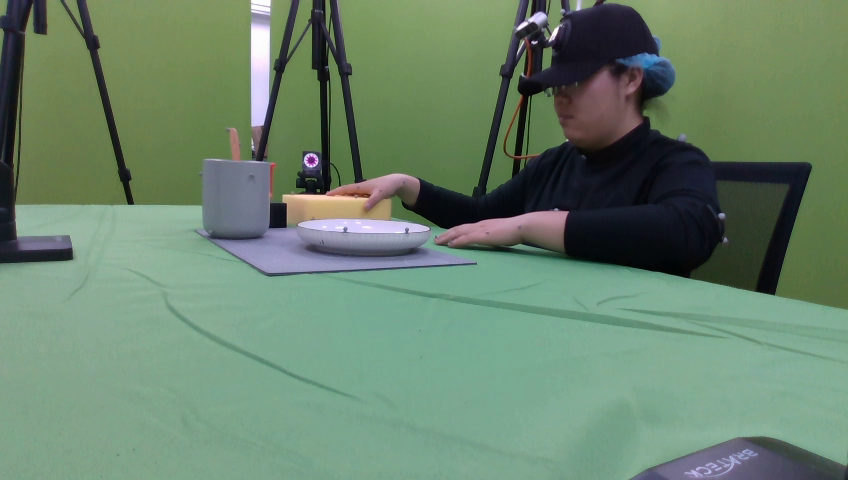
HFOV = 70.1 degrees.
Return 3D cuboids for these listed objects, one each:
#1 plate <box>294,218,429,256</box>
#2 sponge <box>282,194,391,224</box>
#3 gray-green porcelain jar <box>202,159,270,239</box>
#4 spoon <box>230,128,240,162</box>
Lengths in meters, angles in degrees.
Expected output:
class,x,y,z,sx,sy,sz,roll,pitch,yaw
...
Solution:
class,x,y,z,sx,sy,sz,roll,pitch,yaw
plate,-0.096,-0.005,0.936,0.208,0.039,0.207,3,7,0
sponge,-0.187,-0.065,1.306,0.208,0.061,0.117,-4,9,-37
gray-green porcelain jar,-0.310,-0.068,0.999,0.106,0.126,0.106,3,8,0
spoon,-0.314,-0.109,1.025,0.042,0.193,0.021,-5,-19,-16
